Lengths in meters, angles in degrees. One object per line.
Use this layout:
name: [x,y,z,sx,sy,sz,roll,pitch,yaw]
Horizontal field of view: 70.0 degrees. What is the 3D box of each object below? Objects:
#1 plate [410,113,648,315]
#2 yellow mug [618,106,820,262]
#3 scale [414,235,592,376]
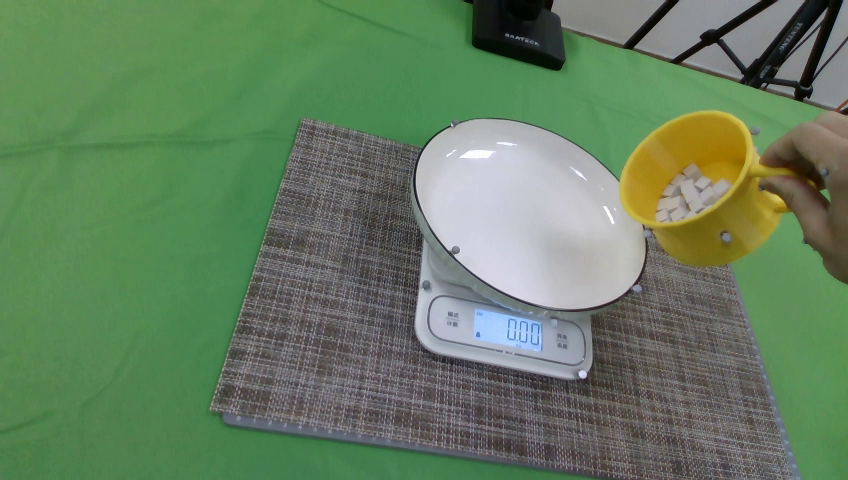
plate: [0.086,-0.024,0.514,0.210,0.038,0.207,10,51,-12]
yellow mug: [0.218,-0.041,0.448,0.064,0.130,0.099,32,74,-35]
scale: [0.071,0.013,0.523,0.149,0.032,0.199,13,51,-9]
